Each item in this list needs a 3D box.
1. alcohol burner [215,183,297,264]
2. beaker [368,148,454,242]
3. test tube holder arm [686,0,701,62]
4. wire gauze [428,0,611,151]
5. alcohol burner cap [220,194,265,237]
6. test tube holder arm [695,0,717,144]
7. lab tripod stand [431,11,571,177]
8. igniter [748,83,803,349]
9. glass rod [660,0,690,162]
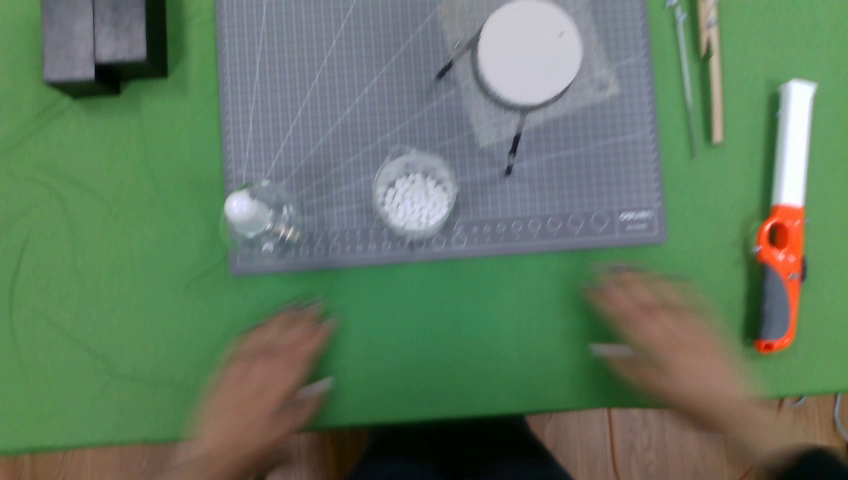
[{"bbox_3d":[-0.161,-0.018,0.566,0.078,0.119,0.077,0,83,0],"label":"alcohol burner"},{"bbox_3d":[-0.014,-0.039,0.578,0.074,0.100,0.084,-26,85,-3],"label":"beaker"},{"bbox_3d":[0.286,-0.233,0.643,0.010,0.015,0.087,-7,86,32],"label":"test tube holder arm"},{"bbox_3d":[0.078,-0.152,0.504,0.121,0.011,0.125,-19,86,-1],"label":"wire gauze"},{"bbox_3d":[-0.161,-0.023,0.530,0.034,0.048,0.033,0,76,-1],"label":"alcohol burner cap"},{"bbox_3d":[0.295,-0.189,0.637,0.013,0.015,0.178,-7,85,32],"label":"test tube holder arm"},{"bbox_3d":[0.073,-0.143,0.570,0.148,0.131,0.148,0,86,1],"label":"lab tripod stand"},{"bbox_3d":[0.364,-0.025,0.624,0.057,0.025,0.276,8,86,-10],"label":"igniter"},{"bbox_3d":[0.264,-0.180,0.642,0.008,0.008,0.199,-6,86,-2],"label":"glass rod"}]
